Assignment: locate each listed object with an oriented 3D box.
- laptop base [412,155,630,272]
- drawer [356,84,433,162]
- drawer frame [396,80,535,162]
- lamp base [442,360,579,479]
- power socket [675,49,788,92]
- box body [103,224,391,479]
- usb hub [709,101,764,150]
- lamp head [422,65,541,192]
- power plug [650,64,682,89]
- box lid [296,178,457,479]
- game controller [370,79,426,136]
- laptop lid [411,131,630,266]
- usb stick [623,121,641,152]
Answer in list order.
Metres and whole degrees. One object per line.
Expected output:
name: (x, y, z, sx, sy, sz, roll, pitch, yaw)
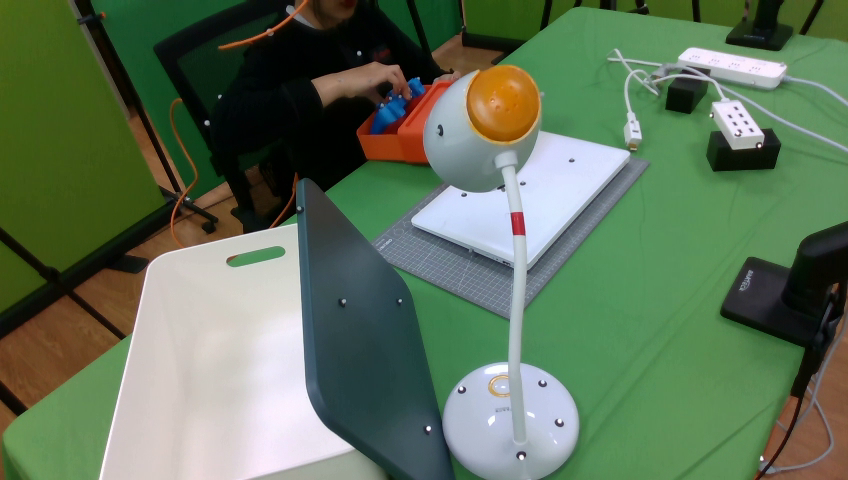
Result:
laptop base: (0.175, -0.084, 1.056, 0.233, 0.023, 0.355, 21, 48, 35)
drawer: (0.003, -0.238, 1.211, 0.210, 0.073, 0.194, 7, 44, 27)
drawer frame: (0.087, -0.230, 1.171, 0.212, 0.083, 0.201, 6, 42, 26)
lamp base: (0.094, 0.158, 0.657, 0.161, 0.181, 0.178, -14, 42, -5)
power socket: (0.647, -0.363, 1.284, 0.225, 0.033, 0.072, 26, 53, 35)
box body: (-0.190, 0.161, 0.723, 0.255, 0.161, 0.361, -13, 40, -5)
usb hub: (0.534, -0.199, 1.040, 0.049, 0.025, 0.124, -5, 39, 8)
lamp head: (0.060, -0.106, 0.560, 0.113, 0.112, 0.122, -17, 0, -8)
power plug: (0.498, -0.341, 1.263, 0.035, 0.052, 0.072, 20, 10, -7)
box lid: (-0.060, 0.103, 0.702, 0.015, 0.265, 0.369, -30, 39, 11)
game controller: (-0.058, -0.269, 1.219, 0.096, 0.052, 0.155, -28, 21, 45)
laptop lid: (0.172, -0.094, 1.050, 0.239, 0.013, 0.358, 23, 49, 36)
usb stick: (0.389, -0.191, 1.128, 0.021, 0.027, 0.059, 9, 61, -9)
